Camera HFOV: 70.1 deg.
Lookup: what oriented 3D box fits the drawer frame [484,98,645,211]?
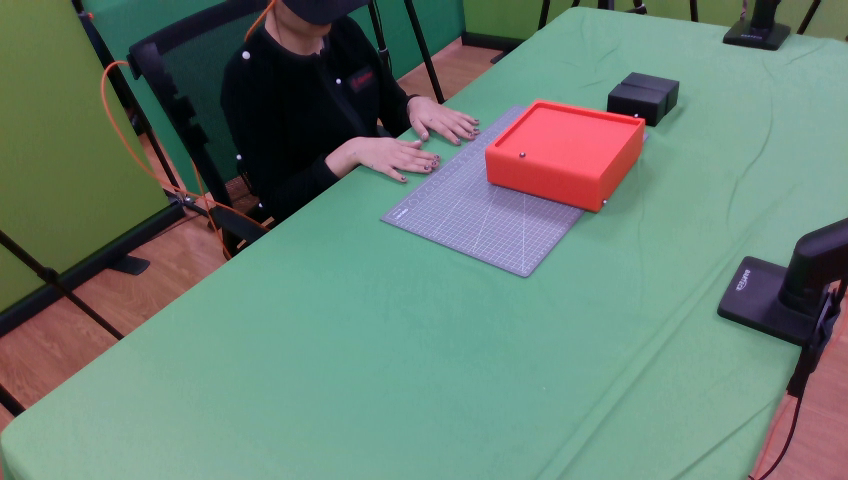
[{"bbox_3d":[0.248,-0.158,1.070,0.212,0.083,0.202,20,47,29],"label":"drawer frame"}]

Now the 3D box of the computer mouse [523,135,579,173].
[{"bbox_3d":[0.232,-0.163,1.100,0.062,0.041,0.117,19,41,34],"label":"computer mouse"}]

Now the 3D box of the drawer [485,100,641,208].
[{"bbox_3d":[0.246,-0.158,1.072,0.210,0.073,0.195,20,47,30],"label":"drawer"}]
